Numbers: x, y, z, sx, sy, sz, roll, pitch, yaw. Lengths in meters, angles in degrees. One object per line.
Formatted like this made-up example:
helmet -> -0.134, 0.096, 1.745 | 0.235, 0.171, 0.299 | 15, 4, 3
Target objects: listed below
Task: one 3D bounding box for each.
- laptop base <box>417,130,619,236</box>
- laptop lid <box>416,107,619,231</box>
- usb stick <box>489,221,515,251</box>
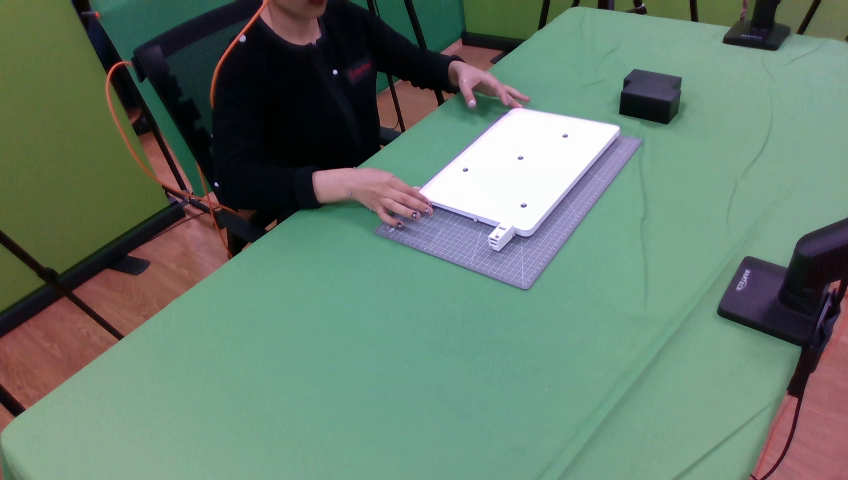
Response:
laptop base -> 0.180, -0.137, 1.112 | 0.233, 0.023, 0.355 | 19, 47, 33
laptop lid -> 0.176, -0.147, 1.105 | 0.239, 0.013, 0.357 | 21, 48, 34
usb stick -> 0.127, -0.011, 0.954 | 0.021, 0.027, 0.059 | 22, 47, 34
